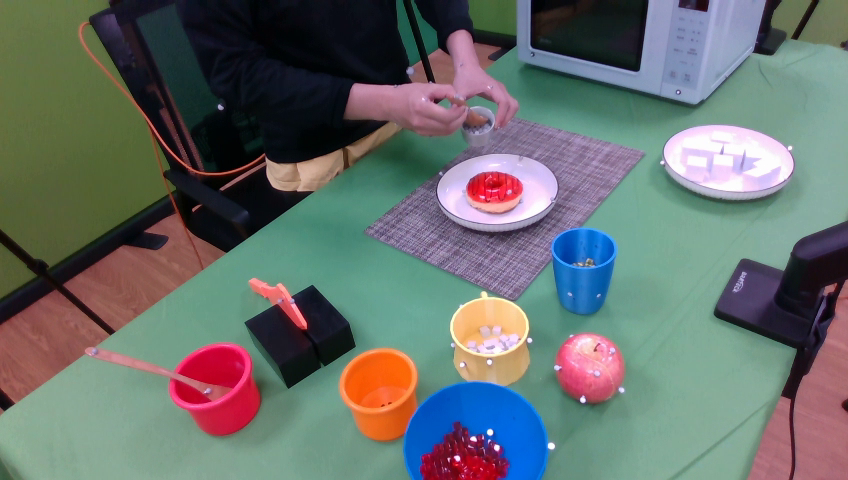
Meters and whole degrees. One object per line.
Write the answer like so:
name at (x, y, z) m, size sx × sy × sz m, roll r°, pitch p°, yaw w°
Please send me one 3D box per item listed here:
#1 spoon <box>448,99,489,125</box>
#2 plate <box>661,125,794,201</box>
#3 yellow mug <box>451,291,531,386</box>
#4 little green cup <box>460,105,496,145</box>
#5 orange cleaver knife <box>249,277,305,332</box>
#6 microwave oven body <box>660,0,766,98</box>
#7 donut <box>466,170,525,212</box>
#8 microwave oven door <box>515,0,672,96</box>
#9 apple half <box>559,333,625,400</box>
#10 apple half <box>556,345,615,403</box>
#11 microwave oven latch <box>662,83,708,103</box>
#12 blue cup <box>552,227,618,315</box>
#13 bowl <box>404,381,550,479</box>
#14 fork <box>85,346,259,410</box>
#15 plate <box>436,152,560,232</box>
spoon at (0.066, -0.204, 0.953) m, size 0.041 × 0.021 × 0.194 m, roll 2°, pitch 0°, yaw 18°
plate at (0.513, -0.128, 1.035) m, size 0.207 × 0.039 × 0.206 m, roll -4°, pitch 40°, yaw 4°
yellow mug at (0.085, 0.120, 0.786) m, size 0.100 × 0.064 × 0.130 m, roll -7°, pitch 39°, yaw 1°
little green cup at (0.092, -0.194, 1.032) m, size 0.061 × 0.039 × 0.061 m, roll -1°, pitch 67°, yaw 3°
orange cleaver knife at (-0.210, 0.088, 0.855) m, size 0.012 × 0.077 × 0.210 m, roll -28°, pitch 15°, yaw -25°
microwave oven body at (0.472, -0.513, 1.317) m, size 0.438 × 0.261 × 0.327 m, roll 26°, pitch 51°, yaw 34°
donut at (0.120, -0.083, 1.019) m, size 0.099 × 0.048 × 0.098 m, roll -4°, pitch 39°, yaw 4°
microwave oven door at (0.344, -0.455, 1.260) m, size 0.353 × 0.245 × 0.039 m, roll 26°, pitch 51°, yaw 33°
apple half at (0.209, 0.147, 0.730) m, size 0.080 × 0.075 × 0.053 m, roll 26°, pitch 48°, yaw 38°
apple half at (0.181, 0.167, 0.709) m, size 0.080 × 0.081 × 0.033 m, roll 29°, pitch 50°, yaw 35°
microwave oven latch at (0.518, -0.296, 1.204) m, size 0.078 × 0.029 × 0.030 m, roll 28°, pitch 52°, yaw 35°
blue cup at (0.218, 0.047, 0.825) m, size 0.092 × 0.100 × 0.092 m, roll -6°, pitch 39°, yaw 5°
bowl at (0.058, 0.235, 0.645) m, size 0.151 × 0.077 × 0.150 m, roll -4°, pitch 39°, yaw 4°
fork at (-0.298, 0.166, 0.728) m, size 0.209 × 0.018 × 0.028 m, roll 28°, pitch 47°, yaw -23°
plate at (0.125, -0.078, 1.030) m, size 0.209 × 0.038 × 0.208 m, roll -4°, pitch 40°, yaw 4°
